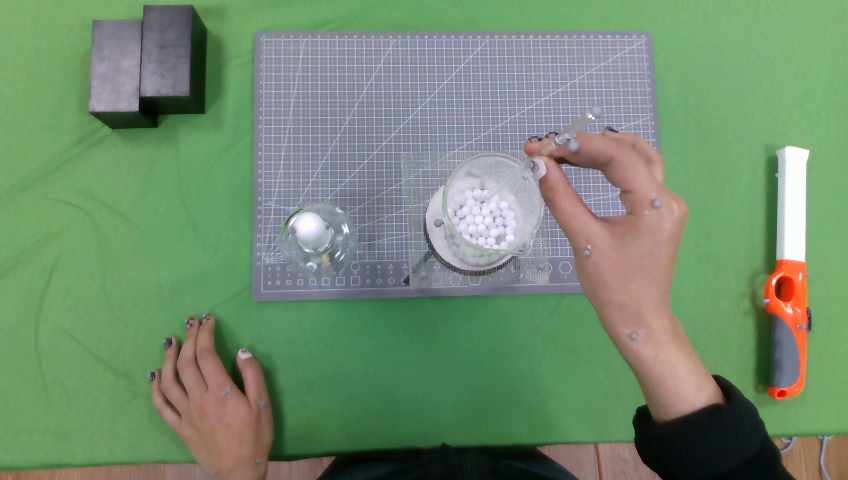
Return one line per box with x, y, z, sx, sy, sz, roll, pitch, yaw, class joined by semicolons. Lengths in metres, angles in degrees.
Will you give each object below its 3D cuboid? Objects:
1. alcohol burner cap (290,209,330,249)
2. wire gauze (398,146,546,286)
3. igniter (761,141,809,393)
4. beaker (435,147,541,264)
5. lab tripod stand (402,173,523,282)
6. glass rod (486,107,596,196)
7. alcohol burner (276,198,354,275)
-0.107;-0.011;0.558;0.034;0.048;0.033;0;77;-1;alcohol burner cap
0.042;-0.022;0.528;0.125;0.011;0.121;-2;80;-1;wire gauze
0.395;0.028;0.662;0.057;0.025;0.275;8;82;-13;igniter
0.047;-0.019;0.479;0.074;0.100;0.084;-34;83;-7;beaker
0.038;-0.009;0.592;0.148;0.132;0.148;0;81;-1;lab tripod stand
0.069;-0.051;0.402;0.008;0.200;0.008;1;82;-9;glass rod
-0.109;-0.007;0.594;0.078;0.119;0.077;1;79;-3;alcohol burner
